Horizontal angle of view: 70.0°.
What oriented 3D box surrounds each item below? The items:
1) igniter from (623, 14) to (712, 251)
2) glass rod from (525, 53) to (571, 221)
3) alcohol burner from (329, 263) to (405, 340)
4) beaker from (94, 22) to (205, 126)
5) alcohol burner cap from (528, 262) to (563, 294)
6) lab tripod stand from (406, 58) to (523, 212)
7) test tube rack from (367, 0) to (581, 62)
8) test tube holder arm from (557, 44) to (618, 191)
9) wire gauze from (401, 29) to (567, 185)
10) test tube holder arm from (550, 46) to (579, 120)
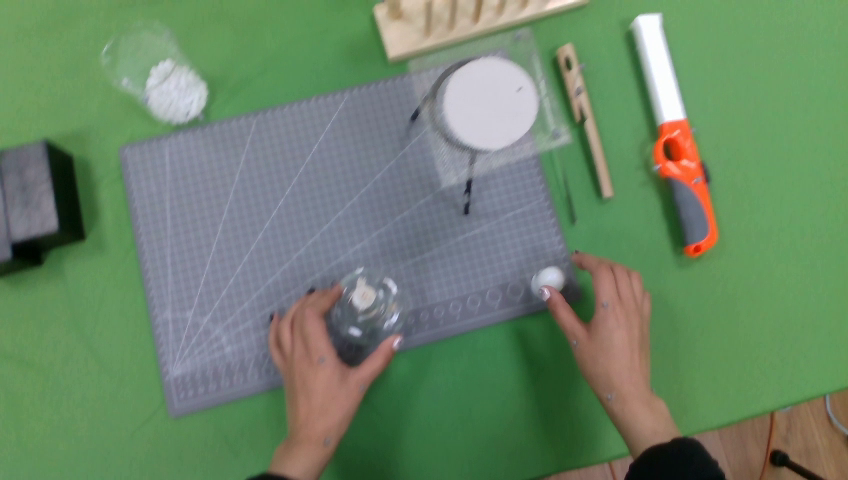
[{"bbox_3d":[0.271,-0.123,0.675,0.057,0.025,0.275,-9,80,-12],"label":"igniter"},{"bbox_3d":[0.140,-0.117,0.683,0.008,0.008,0.199,-12,84,-3],"label":"glass rod"},{"bbox_3d":[-0.058,0.058,0.595,0.078,0.119,0.077,0,78,1],"label":"alcohol burner"},{"bbox_3d":[-0.285,-0.170,0.642,0.084,0.100,0.073,3,79,1],"label":"beaker"},{"bbox_3d":[0.130,0.038,0.636,0.034,0.048,0.033,0,79,-1],"label":"alcohol burner cap"},{"bbox_3d":[0.041,-0.114,0.615,0.148,0.132,0.148,0,81,2],"label":"lab tripod stand"},{"bbox_3d":[0.059,-0.280,0.671,0.242,0.085,0.066,-18,80,-3],"label":"test tube rack"},{"bbox_3d":[0.181,-0.138,0.679,0.013,0.015,0.177,-26,77,35],"label":"test tube holder arm"},{"bbox_3d":[0.053,-0.124,0.549,0.121,0.011,0.124,-17,80,-2],"label":"wire gauze"},{"bbox_3d":[0.163,-0.178,0.690,0.010,0.015,0.087,-24,79,36],"label":"test tube holder arm"}]
